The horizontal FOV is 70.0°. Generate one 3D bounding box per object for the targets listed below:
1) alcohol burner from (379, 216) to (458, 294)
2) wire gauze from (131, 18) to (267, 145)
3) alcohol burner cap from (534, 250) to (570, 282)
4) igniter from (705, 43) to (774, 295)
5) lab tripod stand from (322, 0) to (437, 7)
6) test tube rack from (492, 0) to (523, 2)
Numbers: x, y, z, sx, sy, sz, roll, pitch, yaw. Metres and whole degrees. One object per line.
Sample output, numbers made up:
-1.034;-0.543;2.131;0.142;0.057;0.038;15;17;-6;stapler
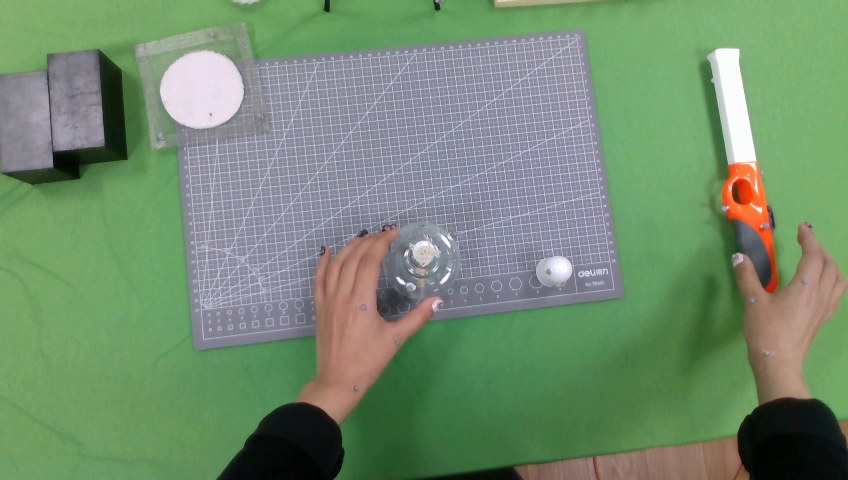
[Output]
-0.004;0.012;0.584;0.078;0.119;0.077;1;82;-3;alcohol burner
-0.239;-0.168;0.641;0.125;0.011;0.121;-12;84;-4;wire gauze
0.134;0.026;0.625;0.034;0.048;0.034;0;83;-2;alcohol burner cap
0.342;-0.079;0.657;0.057;0.025;0.275;-5;84;-14;igniter
-0.050;-0.306;0.606;0.148;0.132;0.148;0;83;-1;lab tripod stand
0.194;-0.313;0.644;0.242;0.085;0.066;-5;84;-3;test tube rack
